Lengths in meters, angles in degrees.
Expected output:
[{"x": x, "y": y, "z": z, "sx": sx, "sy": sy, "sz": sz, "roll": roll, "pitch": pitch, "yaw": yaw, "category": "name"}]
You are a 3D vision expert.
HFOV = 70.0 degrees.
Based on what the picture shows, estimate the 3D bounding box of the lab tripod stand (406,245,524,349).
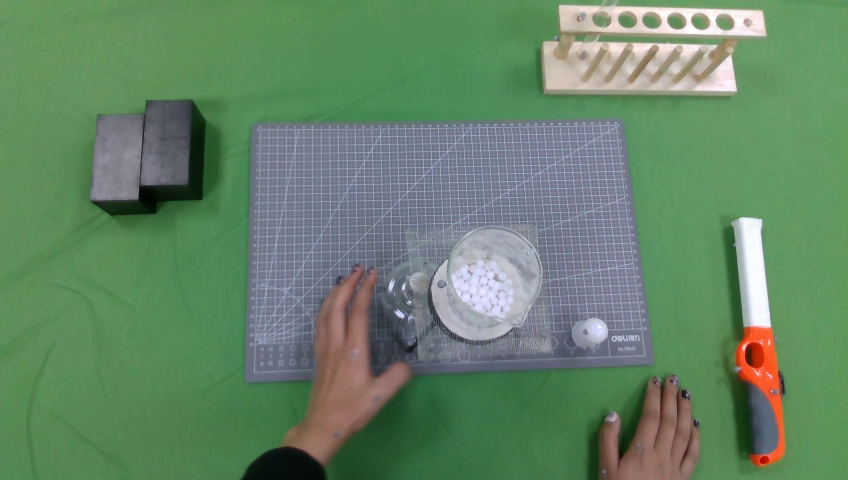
[{"x": 0.042, "y": 0.061, "z": 0.616, "sx": 0.148, "sy": 0.132, "sz": 0.147, "roll": 1, "pitch": 75, "yaw": -2, "category": "lab tripod stand"}]

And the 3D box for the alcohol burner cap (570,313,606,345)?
[{"x": 0.182, "y": 0.097, "z": 0.664, "sx": 0.034, "sy": 0.048, "sz": 0.033, "roll": 1, "pitch": 74, "yaw": -2, "category": "alcohol burner cap"}]

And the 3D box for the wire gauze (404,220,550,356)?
[{"x": 0.048, "y": 0.042, "z": 0.553, "sx": 0.125, "sy": 0.011, "sz": 0.120, "roll": -4, "pitch": 74, "yaw": -2, "category": "wire gauze"}]

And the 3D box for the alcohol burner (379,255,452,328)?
[{"x": -0.007, "y": 0.049, "z": 0.626, "sx": 0.078, "sy": 0.119, "sz": 0.077, "roll": 1, "pitch": 74, "yaw": -4, "category": "alcohol burner"}]

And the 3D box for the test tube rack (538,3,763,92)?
[{"x": 0.268, "y": -0.230, "z": 0.730, "sx": 0.242, "sy": 0.085, "sz": 0.066, "roll": -1, "pitch": 76, "yaw": -4, "category": "test tube rack"}]

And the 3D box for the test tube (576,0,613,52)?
[{"x": 0.199, "y": -0.261, "z": 0.682, "sx": 0.017, "sy": 0.151, "sz": 0.017, "roll": 1, "pitch": 72, "yaw": -3, "category": "test tube"}]

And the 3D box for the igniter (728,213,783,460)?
[{"x": 0.374, "y": 0.104, "z": 0.686, "sx": 0.057, "sy": 0.025, "sz": 0.275, "roll": 5, "pitch": 76, "yaw": -13, "category": "igniter"}]

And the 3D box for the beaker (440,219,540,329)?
[{"x": 0.052, "y": 0.036, "z": 0.505, "sx": 0.074, "sy": 0.100, "sz": 0.083, "roll": -24, "pitch": 78, "yaw": -8, "category": "beaker"}]
